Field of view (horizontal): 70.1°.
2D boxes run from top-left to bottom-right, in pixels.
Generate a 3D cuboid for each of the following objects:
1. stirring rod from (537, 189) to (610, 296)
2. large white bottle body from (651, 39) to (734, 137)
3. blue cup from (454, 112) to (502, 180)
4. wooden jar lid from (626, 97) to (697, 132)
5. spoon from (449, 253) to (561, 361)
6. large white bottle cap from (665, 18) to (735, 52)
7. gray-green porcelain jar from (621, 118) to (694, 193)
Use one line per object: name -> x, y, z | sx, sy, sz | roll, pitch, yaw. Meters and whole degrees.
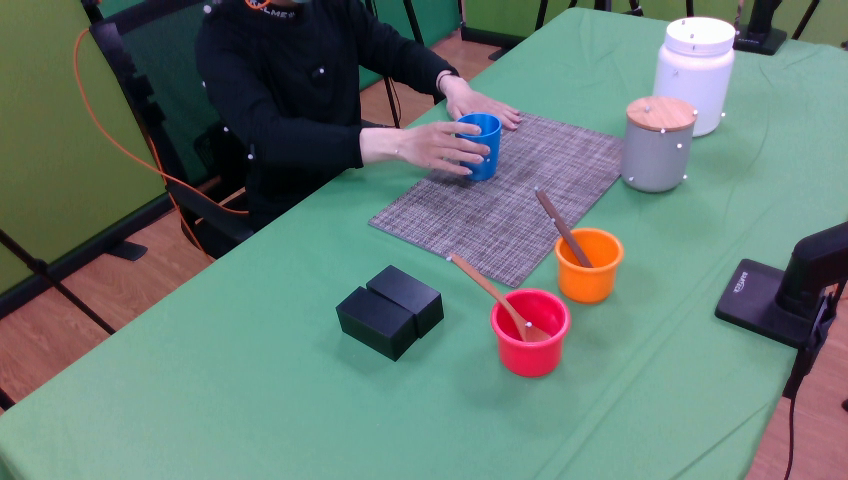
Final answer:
stirring rod -> 0.211, 0.003, 0.855 | 0.014, 0.006, 0.176 | -32, 88, -30
large white bottle body -> 0.496, -0.300, 1.126 | 0.130, 0.185, 0.130 | -4, 41, 4
blue cup -> 0.099, -0.165, 1.085 | 0.092, 0.100, 0.092 | -4, 40, 4
wooden jar lid -> 0.381, -0.198, 0.976 | 0.108, 0.021, 0.108 | -2, 40, 3
spoon -> 0.103, 0.083, 0.770 | 0.194, 0.021, 0.042 | 47, 51, -7
large white bottle cap -> 0.488, -0.364, 1.071 | 0.115, 0.018, 0.114 | -4, 41, 4
gray-green porcelain jar -> 0.389, -0.152, 1.016 | 0.106, 0.127, 0.105 | -4, 40, 4
